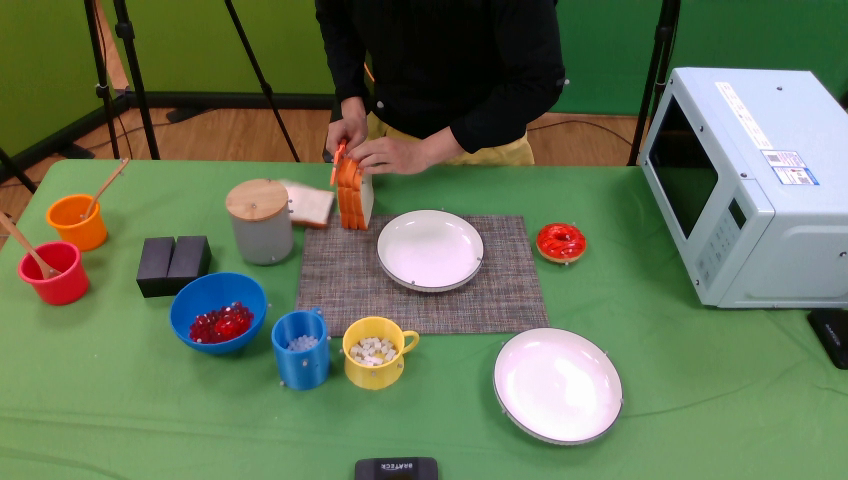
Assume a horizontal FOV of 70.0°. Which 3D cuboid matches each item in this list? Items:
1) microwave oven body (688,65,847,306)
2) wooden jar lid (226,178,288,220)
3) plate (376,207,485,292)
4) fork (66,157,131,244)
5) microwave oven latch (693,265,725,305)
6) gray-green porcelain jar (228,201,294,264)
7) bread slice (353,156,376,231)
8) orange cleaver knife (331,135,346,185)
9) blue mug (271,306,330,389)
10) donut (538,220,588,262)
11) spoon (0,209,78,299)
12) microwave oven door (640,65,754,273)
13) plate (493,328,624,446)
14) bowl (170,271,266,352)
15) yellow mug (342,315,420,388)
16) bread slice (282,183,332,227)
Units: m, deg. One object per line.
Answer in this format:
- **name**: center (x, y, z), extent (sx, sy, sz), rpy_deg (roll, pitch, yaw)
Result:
- **microwave oven body**: center (0.669, -0.111, 1.176), extent (0.326, 0.261, 0.439), rpy_deg (0, 46, -3)
- **wooden jar lid**: center (-0.296, -0.070, 1.081), extent (0.108, 0.021, 0.107), rpy_deg (1, 45, 0)
- **plate**: center (0.012, 0.021, 1.158), extent (0.209, 0.038, 0.208), rpy_deg (2, 47, -2)
- **fork**: center (-0.608, -0.074, 1.132), extent (0.207, 0.019, 0.028), rpy_deg (-52, 48, 10)
- **microwave oven latch**: center (0.523, 0.082, 1.115), extent (0.030, 0.029, 0.078), rpy_deg (2, 46, -1)
- **gray-green porcelain jar**: center (-0.299, -0.027, 1.126), extent (0.106, 0.127, 0.105), rpy_deg (2, 46, -2)
- **bread slice**: center (-0.119, -0.098, 1.206), extent (0.018, 0.135, 0.106), rpy_deg (6, 49, 7)
- **orange cleaver knife**: center (-0.173, -0.164, 1.229), extent (0.012, 0.077, 0.210), rpy_deg (9, 21, -6)
- **blue mug**: center (-0.188, 0.163, 0.969), extent (0.082, 0.106, 0.116), rpy_deg (15, 47, 10)
- **donut**: center (0.273, 0.000, 1.198), extent (0.099, 0.048, 0.098), rpy_deg (1, 47, 0)
- **spoon**: center (-0.668, 0.022, 1.040), extent (0.041, 0.021, 0.194), rpy_deg (-41, 105, -29)
- **microwave oven door**: center (0.523, -0.147, 1.193), extent (0.039, 0.245, 0.353), rpy_deg (0, 47, -3)
- **plate**: center (0.213, 0.236, 0.974), extent (0.208, 0.039, 0.206), rpy_deg (2, 46, -2)
- **bowl**: center (-0.333, 0.132, 1.006), extent (0.151, 0.077, 0.150), rpy_deg (2, 46, -2)
- **yellow mug**: center (-0.067, 0.177, 0.990), extent (0.131, 0.064, 0.099), rpy_deg (-15, 50, -19)
- **bread slice**: center (-0.260, -0.075, 1.240), extent (0.131, 0.019, 0.104), rpy_deg (9, 46, -2)
